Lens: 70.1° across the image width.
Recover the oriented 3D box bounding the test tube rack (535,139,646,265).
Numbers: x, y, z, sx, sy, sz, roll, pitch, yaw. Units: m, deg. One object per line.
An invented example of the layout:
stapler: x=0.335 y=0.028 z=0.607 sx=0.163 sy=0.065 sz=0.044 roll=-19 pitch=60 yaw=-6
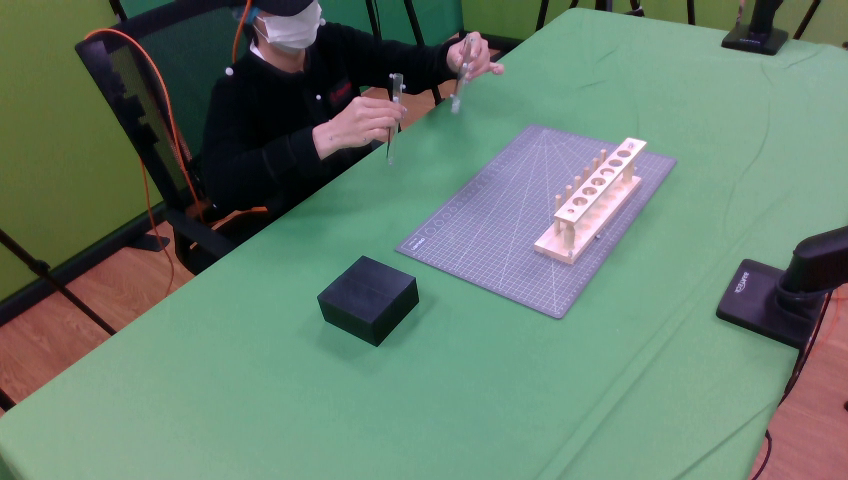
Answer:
test tube rack: x=0.269 y=-0.071 z=0.964 sx=0.066 sy=0.085 sz=0.243 roll=23 pitch=49 yaw=32

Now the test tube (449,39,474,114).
test tube: x=0.063 y=-0.280 z=1.048 sx=0.017 sy=0.150 sz=0.017 roll=6 pitch=50 yaw=-7

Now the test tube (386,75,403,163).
test tube: x=-0.049 y=-0.197 z=1.001 sx=0.017 sy=0.150 sz=0.017 roll=6 pitch=29 yaw=-3
